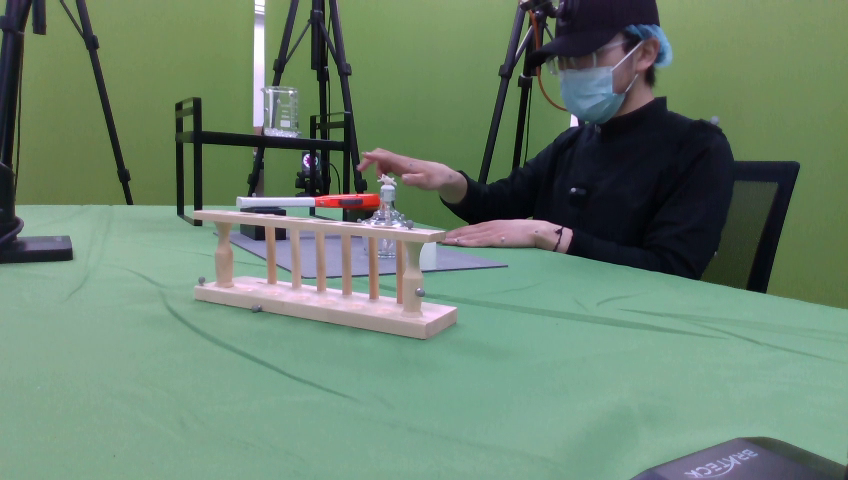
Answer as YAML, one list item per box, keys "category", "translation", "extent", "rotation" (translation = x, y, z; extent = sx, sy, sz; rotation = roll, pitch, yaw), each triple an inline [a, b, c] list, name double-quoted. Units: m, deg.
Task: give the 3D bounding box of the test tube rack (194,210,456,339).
- category: "test tube rack"
  translation: [-0.093, 0.023, 0.545]
  extent: [0.241, 0.085, 0.067]
  rotation: [6, 8, 25]

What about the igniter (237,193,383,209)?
- category: "igniter"
  translation: [-0.191, -0.069, 1.072]
  extent: [0.278, 0.025, 0.057]
  rotation: [-5, 11, -35]

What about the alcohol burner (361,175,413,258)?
- category: "alcohol burner"
  translation: [-0.054, -0.034, 0.870]
  extent: [0.078, 0.119, 0.078]
  rotation: [1, 9, 0]

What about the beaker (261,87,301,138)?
- category: "beaker"
  translation: [-0.298, -0.263, 1.255]
  extent: [0.084, 0.100, 0.073]
  rotation: [-5, 10, -40]

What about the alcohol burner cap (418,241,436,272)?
- category: "alcohol burner cap"
  translation: [0.001, 0.015, 0.787]
  extent: [0.034, 0.048, 0.034]
  rotation: [4, 7, 0]
